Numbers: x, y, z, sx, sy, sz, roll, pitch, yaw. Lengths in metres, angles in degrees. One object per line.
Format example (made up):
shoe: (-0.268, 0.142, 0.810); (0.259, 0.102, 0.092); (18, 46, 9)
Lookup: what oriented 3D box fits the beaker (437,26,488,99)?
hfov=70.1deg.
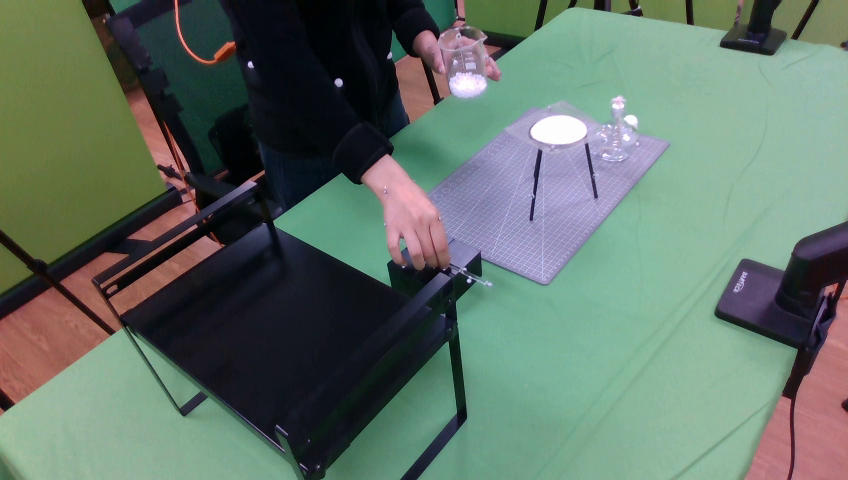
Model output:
beaker: (0.072, -0.300, 1.031); (0.084, 0.101, 0.073); (-6, 47, 9)

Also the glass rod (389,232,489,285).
glass rod: (0.017, 0.025, 0.874); (0.198, 0.008, 0.008); (26, 51, 39)

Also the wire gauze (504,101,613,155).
wire gauze: (0.211, -0.176, 0.955); (0.125, 0.011, 0.120); (-24, 44, -18)

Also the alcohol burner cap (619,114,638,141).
alcohol burner cap: (0.389, -0.215, 1.145); (0.034, 0.048, 0.033); (-4, 40, 4)

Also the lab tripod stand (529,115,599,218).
lab tripod stand: (0.217, -0.123, 0.995); (0.148, 0.132, 0.147); (-4, 43, 4)

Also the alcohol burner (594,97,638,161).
alcohol burner: (0.345, -0.203, 1.083); (0.078, 0.119, 0.077); (-5, 42, 5)
